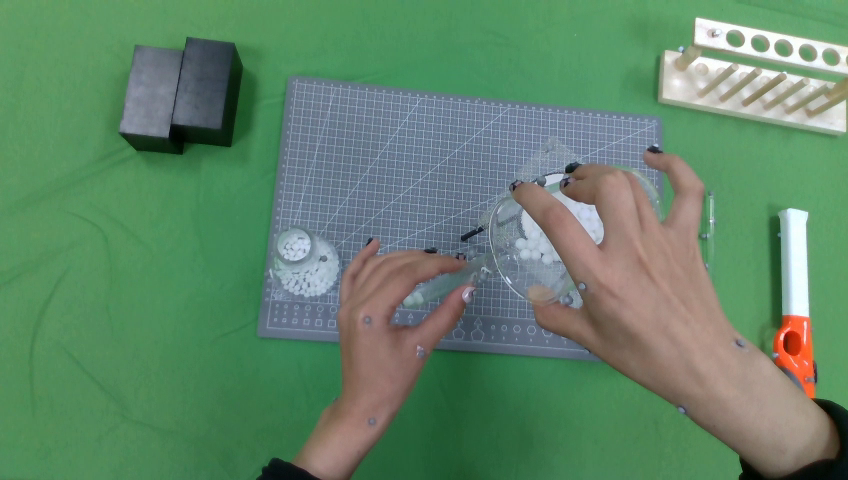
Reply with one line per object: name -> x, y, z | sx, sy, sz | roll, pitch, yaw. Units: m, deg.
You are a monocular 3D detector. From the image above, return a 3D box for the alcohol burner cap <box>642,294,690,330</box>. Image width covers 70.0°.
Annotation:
alcohol burner cap -> 0.243, 0.069, 0.600 | 0.034, 0.048, 0.033 | 3, 72, -9

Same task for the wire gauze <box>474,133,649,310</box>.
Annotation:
wire gauze -> 0.128, -0.021, 0.563 | 0.125, 0.011, 0.121 | 41, 79, 3

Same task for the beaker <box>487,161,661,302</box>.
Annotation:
beaker -> 0.103, -0.009, 0.412 | 0.100, 0.084, 0.074 | -20, 88, -30

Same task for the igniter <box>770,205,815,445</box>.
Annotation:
igniter -> 0.425, 0.094, 0.700 | 0.057, 0.025, 0.275 | 9, 78, -15

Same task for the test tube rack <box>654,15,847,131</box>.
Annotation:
test tube rack -> 0.413, -0.196, 0.727 | 0.243, 0.085, 0.066 | 9, 77, -4

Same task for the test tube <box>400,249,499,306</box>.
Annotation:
test tube -> 0.015, 0.033, 0.487 | 0.017, 0.150, 0.017 | 8, 71, -24

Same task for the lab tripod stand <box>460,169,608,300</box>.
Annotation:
lab tripod stand -> 0.119, -0.010, 0.629 | 0.148, 0.132, 0.148 | 1, 80, -5

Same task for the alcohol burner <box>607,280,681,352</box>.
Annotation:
alcohol burner -> 0.239, 0.078, 0.635 | 0.078, 0.119, 0.077 | 1, 77, -3

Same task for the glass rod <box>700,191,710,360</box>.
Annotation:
glass rod -> 0.330, 0.039, 0.710 | 0.008, 0.008, 0.199 | 7, 81, -5

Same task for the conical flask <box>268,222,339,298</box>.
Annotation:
conical flask -> -0.124, 0.015, 0.601 | 0.075, 0.122, 0.075 | 1, 78, -6
